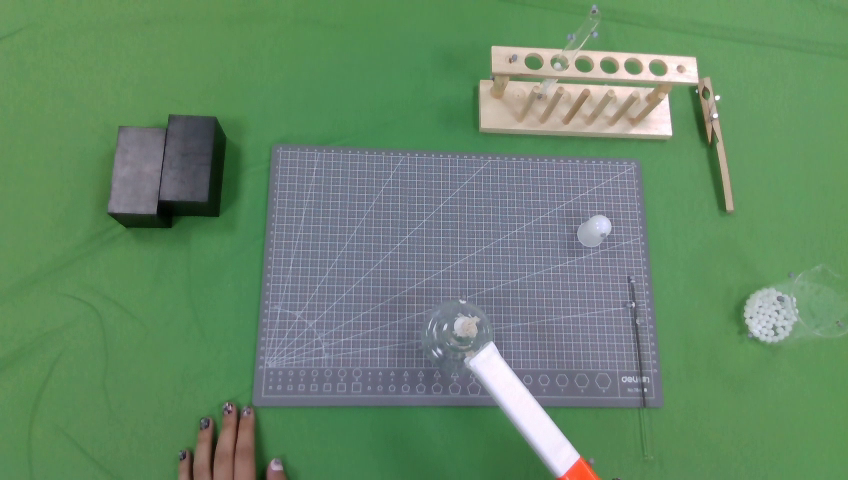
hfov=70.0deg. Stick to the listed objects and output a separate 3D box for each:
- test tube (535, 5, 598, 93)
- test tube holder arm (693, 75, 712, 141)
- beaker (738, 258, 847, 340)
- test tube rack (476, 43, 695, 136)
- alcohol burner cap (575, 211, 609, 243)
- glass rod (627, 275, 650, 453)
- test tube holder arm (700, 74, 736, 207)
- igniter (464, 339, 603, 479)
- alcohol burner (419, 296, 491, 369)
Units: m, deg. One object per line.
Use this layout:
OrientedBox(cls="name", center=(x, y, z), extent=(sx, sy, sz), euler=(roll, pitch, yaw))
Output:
OrientedBox(cls="test tube", center=(0.156, -0.209, 0.682), extent=(0.017, 0.150, 0.017), euler=(4, 72, -11))
OrientedBox(cls="test tube holder arm", center=(0.360, -0.169, 0.780), extent=(0.010, 0.015, 0.087), euler=(-14, 75, 28))
OrientedBox(cls="beaker", center=(0.411, 0.070, 0.679), extent=(0.074, 0.100, 0.083), euler=(14, 73, -1))
OrientedBox(cls="test tube rack", center=(0.189, -0.178, 0.729), extent=(0.243, 0.085, 0.066), euler=(1, 75, -5))
OrientedBox(cls="alcohol burner cap", center=(0.199, -0.017, 0.707), extent=(0.034, 0.048, 0.033), euler=(1, 75, -5))
OrientedBox(cls="glass rod", center=(0.243, 0.137, 0.688), extent=(0.008, 0.008, 0.198), euler=(1, 75, -6))
OrientedBox(cls="test tube holder arm", center=(0.370, -0.127, 0.767), extent=(0.013, 0.015, 0.177), euler=(-15, 74, 28))
OrientedBox(cls="igniter", center=(0.131, 0.208, 0.542), extent=(0.057, 0.025, 0.276), euler=(-36, 86, -23))
OrientedBox(cls="alcohol burner", center=(0.034, 0.092, 0.624), extent=(0.078, 0.119, 0.077), euler=(1, 73, -4))
